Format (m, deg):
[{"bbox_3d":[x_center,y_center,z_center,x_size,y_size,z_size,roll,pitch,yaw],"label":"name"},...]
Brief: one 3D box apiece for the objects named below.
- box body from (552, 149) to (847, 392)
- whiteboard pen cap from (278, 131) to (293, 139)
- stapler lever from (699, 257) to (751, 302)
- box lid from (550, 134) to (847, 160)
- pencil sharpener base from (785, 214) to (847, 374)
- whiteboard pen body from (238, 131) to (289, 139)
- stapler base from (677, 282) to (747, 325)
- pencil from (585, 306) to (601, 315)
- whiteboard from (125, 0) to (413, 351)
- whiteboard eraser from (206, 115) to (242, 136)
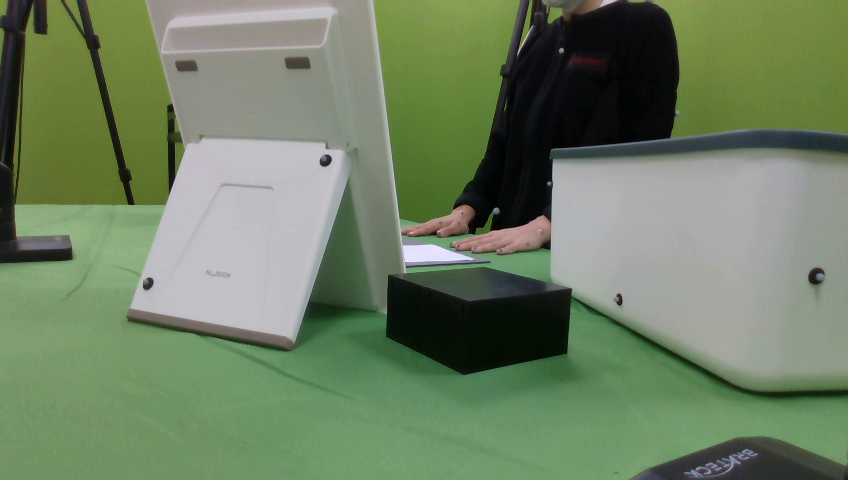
[{"bbox_3d":[0.290,0.002,0.549,0.255,0.160,0.363,2,7,-10],"label":"box body"},{"bbox_3d":[-0.312,-0.236,1.357,0.033,0.018,0.018,6,8,22],"label":"whiteboard pen cap"},{"bbox_3d":[0.291,0.035,0.580,0.026,0.040,0.119,32,21,33],"label":"stapler lever"},{"bbox_3d":[0.294,-0.071,0.538,0.264,0.015,0.370,2,6,-10],"label":"box lid"},{"bbox_3d":[0.322,0.038,0.441,0.077,0.107,0.061,1,8,-18],"label":"pencil sharpener base"},{"bbox_3d":[-0.366,-0.240,1.381,0.140,0.017,0.017,6,8,24],"label":"whiteboard pen body"},{"bbox_3d":[0.283,0.056,0.584,0.041,0.024,0.131,32,19,33],"label":"stapler base"},{"bbox_3d":[0.250,0.055,0.656,0.195,0.012,0.012,-11,13,-28],"label":"pencil"},{"bbox_3d":[-0.151,-0.050,0.471,0.216,0.305,0.144,6,27,24],"label":"whiteboard"},{"bbox_3d":[-0.438,-0.249,1.320,0.056,0.042,0.112,-3,9,-30],"label":"whiteboard eraser"}]
